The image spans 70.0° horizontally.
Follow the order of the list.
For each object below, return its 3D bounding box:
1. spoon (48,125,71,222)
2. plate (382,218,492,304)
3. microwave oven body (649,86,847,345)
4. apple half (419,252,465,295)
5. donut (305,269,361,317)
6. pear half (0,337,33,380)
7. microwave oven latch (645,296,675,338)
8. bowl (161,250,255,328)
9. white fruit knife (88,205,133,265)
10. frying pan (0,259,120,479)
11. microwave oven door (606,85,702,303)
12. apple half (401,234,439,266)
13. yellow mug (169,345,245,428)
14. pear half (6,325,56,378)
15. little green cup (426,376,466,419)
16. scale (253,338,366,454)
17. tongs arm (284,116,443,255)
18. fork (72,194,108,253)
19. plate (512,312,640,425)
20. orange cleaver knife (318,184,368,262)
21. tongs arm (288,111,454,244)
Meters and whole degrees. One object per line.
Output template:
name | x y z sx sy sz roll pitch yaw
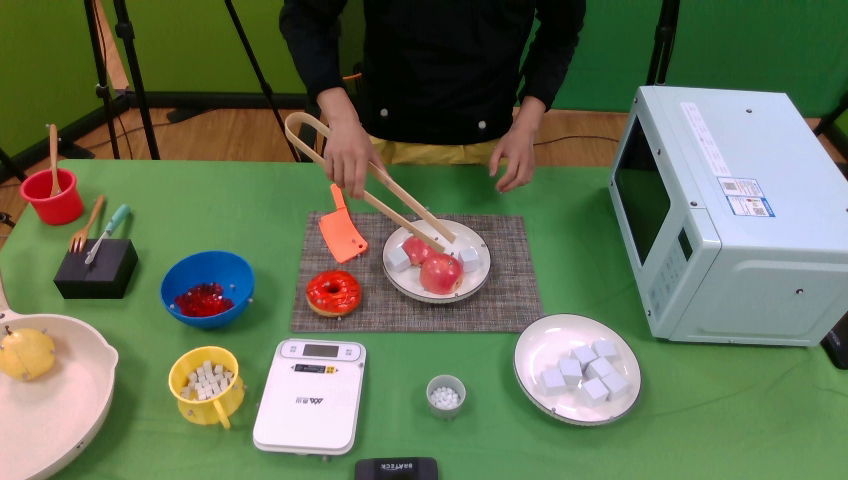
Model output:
spoon | -0.718 -0.131 1.188 0.041 0.021 0.193 -3 90 -7
plate | 0.024 0.042 1.143 0.209 0.038 0.208 2 46 -2
microwave oven body | 0.567 -0.053 1.118 0.326 0.261 0.439 2 45 -1
apple half | 0.035 0.056 1.109 0.074 0.053 0.081 38 55 25
donut | -0.160 0.094 1.075 0.099 0.048 0.098 3 46 -3
pear half | -0.631 0.184 0.921 0.070 0.088 0.031 29 49 19
microwave oven latch | 0.412 0.134 1.061 0.030 0.029 0.078 3 45 0
bowl | -0.362 0.098 1.039 0.151 0.077 0.150 2 45 -2
white fruit knife | -0.584 -0.013 1.129 0.016 0.027 0.206 0 32 -5
frying pan | -0.647 0.164 0.936 0.307 0.103 0.485 -19 58 -22
microwave oven door | 0.423 -0.094 1.140 0.039 0.245 0.353 2 46 -1
apple half | -0.004 0.014 1.159 0.081 0.033 0.081 5 44 -5
yellow mug | -0.322 0.230 0.922 0.100 0.064 0.130 -24 53 -25
pear half | -0.608 0.158 0.935 0.076 0.110 0.056 31 51 20
little green cup | 0.033 0.248 0.950 0.061 0.039 0.061 2 46 -2
scale | -0.175 0.236 0.951 0.149 0.032 0.199 4 45 -1
tongs arm | -0.116 -0.099 1.084 0.386 0.028 0.028 39 66 12
fork | -0.634 -0.036 1.158 0.028 0.019 0.206 -8 32 -8
plate | 0.246 0.213 0.999 0.208 0.039 0.206 2 46 -2
orange cleaver knife | -0.173 -0.037 1.218 0.077 0.012 0.210 -16 50 -12
tongs arm | -0.101 -0.113 1.095 0.383 0.026 0.050 43 63 14
